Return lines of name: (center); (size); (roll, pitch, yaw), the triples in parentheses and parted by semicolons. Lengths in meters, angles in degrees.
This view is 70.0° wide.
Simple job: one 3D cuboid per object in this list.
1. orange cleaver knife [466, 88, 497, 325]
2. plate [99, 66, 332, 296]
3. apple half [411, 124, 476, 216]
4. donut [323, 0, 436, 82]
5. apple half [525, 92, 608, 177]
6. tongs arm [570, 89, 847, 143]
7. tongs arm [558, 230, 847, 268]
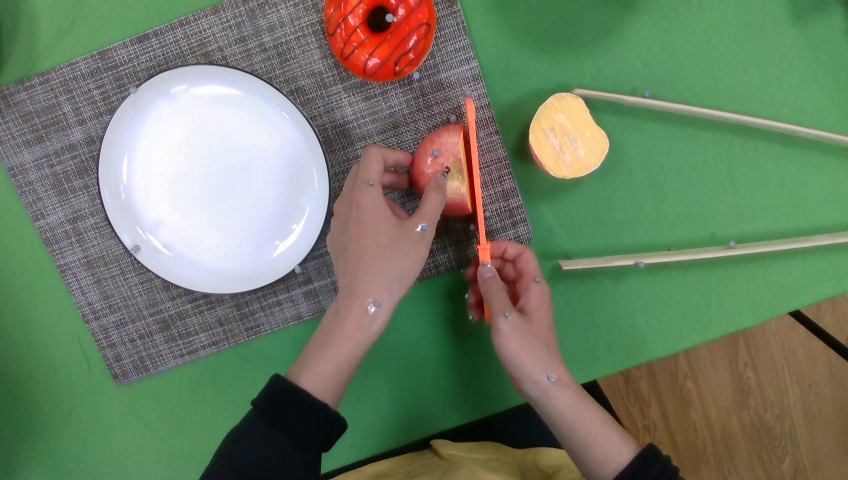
orange cleaver knife: (0.051, -0.029, 0.548); (0.012, 0.077, 0.212); (-6, 104, 6)
plate: (-0.186, -0.052, 0.559); (0.209, 0.038, 0.210); (0, 103, 0)
apple half: (0.016, -0.061, 0.542); (0.053, 0.074, 0.081); (-6, 106, 12)
donut: (-0.039, -0.188, 0.527); (0.099, 0.048, 0.099); (0, 104, 1)
apple half: (0.124, -0.092, 0.558); (0.081, 0.033, 0.081); (2, 82, -13)
tongs arm: (0.323, -0.098, 0.563); (0.388, 0.027, 0.028); (10, 95, -3)
tongs arm: (0.321, -0.013, 0.579); (0.385, 0.026, 0.051); (-4, 99, -1)
